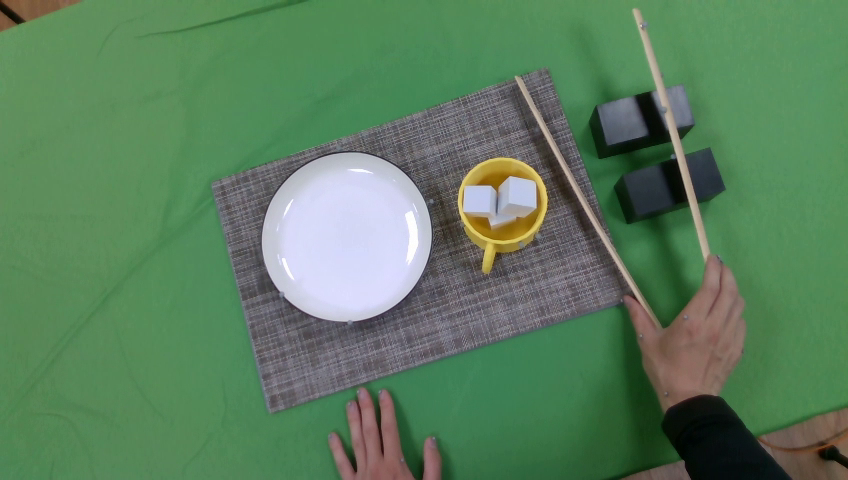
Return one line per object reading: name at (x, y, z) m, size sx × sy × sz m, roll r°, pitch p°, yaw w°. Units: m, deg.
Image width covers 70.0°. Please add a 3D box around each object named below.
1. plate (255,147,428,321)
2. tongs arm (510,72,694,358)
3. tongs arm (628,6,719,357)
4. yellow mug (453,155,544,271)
plate at (-0.097, -0.006, 0.728) m, size 0.207 × 0.039 × 0.207 m, roll -1°, pitch 81°, yaw 6°
tongs arm at (0.198, -0.035, 0.703) m, size 0.028 × 0.028 × 0.386 m, roll -32°, pitch 80°, yaw 22°
tongs arm at (0.263, -0.064, 0.665) m, size 0.050 × 0.026 × 0.384 m, roll -18°, pitch 86°, yaw 27°
yellow mug at (0.082, -0.027, 0.698) m, size 0.100 × 0.064 × 0.130 m, roll 14°, pitch 83°, yaw 7°
